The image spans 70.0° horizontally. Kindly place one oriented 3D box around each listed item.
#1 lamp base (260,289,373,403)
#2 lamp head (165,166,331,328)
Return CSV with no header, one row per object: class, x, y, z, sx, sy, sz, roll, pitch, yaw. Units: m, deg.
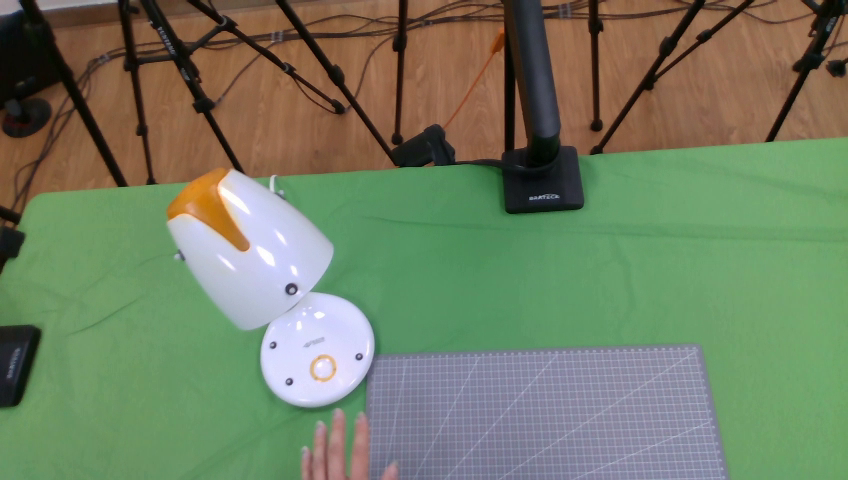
lamp base,-0.166,0.103,0.787,0.160,0.182,0.177,-30,60,-9
lamp head,-0.159,-0.004,0.523,0.112,0.124,0.111,-32,23,16
